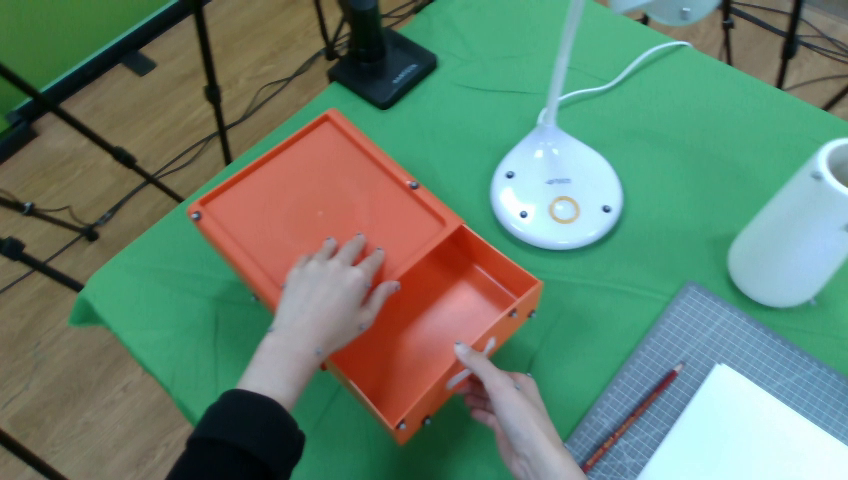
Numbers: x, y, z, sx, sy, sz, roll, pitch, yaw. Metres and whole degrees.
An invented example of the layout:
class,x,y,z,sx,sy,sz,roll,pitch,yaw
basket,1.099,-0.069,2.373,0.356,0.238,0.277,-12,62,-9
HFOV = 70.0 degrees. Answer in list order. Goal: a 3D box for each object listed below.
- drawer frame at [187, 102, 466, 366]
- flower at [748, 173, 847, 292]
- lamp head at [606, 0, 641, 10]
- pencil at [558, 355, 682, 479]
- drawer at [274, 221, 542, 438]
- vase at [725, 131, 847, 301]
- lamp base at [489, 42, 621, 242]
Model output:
class,x,y,z,sx,sy,sz,roll,pitch,yaw
drawer frame,-0.100,-0.012,0.645,0.201,0.083,0.212,-41,70,-18
flower,0.389,-0.069,0.536,0.038,0.364,0.044,24,46,9
lamp head,0.167,-0.233,0.416,0.112,0.112,0.123,-21,99,-8
pencil,0.201,0.178,0.607,0.194,0.012,0.012,-38,64,-19
drawer,-0.025,0.052,0.607,0.194,0.074,0.210,-42,64,-19
vase,0.377,-0.018,0.603,0.098,0.202,0.097,-2,58,4
lamp base,0.152,-0.116,0.685,0.161,0.182,0.177,-14,57,-5
